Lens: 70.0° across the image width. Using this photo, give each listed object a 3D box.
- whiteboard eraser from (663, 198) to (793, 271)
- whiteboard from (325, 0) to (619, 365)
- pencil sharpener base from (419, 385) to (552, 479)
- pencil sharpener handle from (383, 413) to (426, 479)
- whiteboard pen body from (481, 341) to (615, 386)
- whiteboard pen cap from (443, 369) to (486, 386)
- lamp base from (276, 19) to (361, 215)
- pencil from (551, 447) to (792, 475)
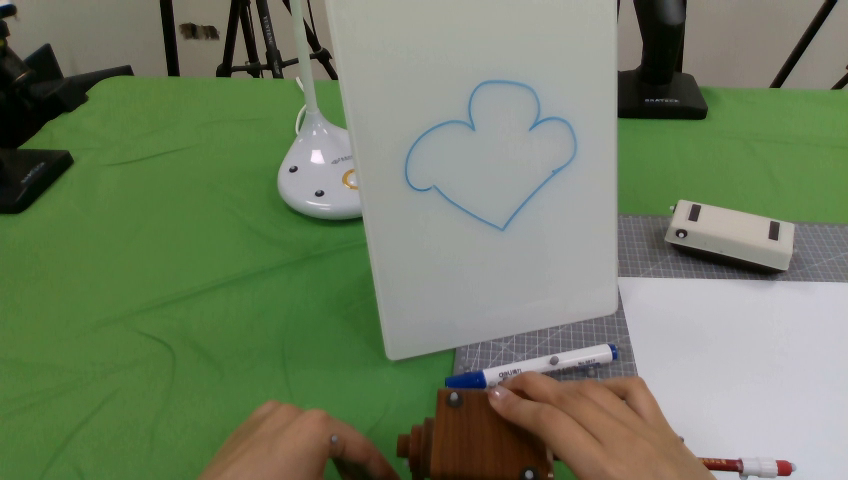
[{"bbox_3d":[0.300,-0.005,0.601,0.112,0.042,0.055,16,45,21],"label":"whiteboard eraser"},{"bbox_3d":[0.043,-0.076,0.545,0.217,0.307,0.142,-10,22,-7],"label":"whiteboard"},{"bbox_3d":[0.038,0.148,0.391,0.076,0.108,0.061,1,41,5],"label":"pencil sharpener base"},{"bbox_3d":[-0.014,0.140,0.386,0.030,0.068,0.035,1,32,5],"label":"pencil sharpener handle"},{"bbox_3d":[0.091,0.104,0.499,0.141,0.017,0.017,-11,41,-7],"label":"whiteboard pen body"},{"bbox_3d":[0.033,0.115,0.491,0.033,0.018,0.018,-11,41,-7],"label":"whiteboard pen cap"},{"bbox_3d":[-0.108,-0.146,0.686,0.161,0.182,0.177,-30,45,-28],"label":"lamp base"},{"bbox_3d":[0.120,0.131,0.366,0.194,0.012,0.012,2,41,3],"label":"pencil"}]
